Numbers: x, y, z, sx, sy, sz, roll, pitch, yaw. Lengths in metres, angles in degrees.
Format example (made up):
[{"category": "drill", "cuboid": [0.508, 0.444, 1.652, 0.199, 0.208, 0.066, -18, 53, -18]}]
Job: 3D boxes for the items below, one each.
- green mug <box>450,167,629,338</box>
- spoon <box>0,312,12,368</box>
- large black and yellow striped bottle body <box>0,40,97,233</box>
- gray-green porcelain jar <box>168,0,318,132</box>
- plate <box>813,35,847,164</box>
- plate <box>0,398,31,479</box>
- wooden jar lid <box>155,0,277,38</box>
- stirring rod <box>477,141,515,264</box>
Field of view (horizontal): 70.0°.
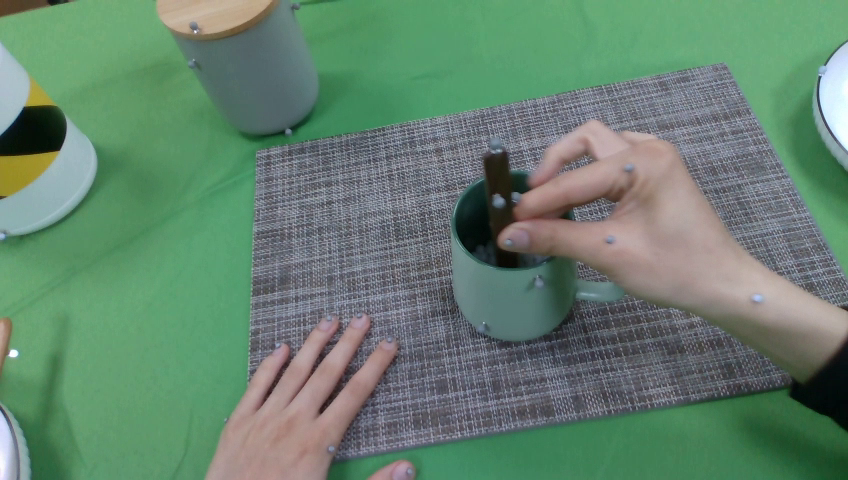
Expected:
[{"category": "green mug", "cuboid": [0.078, 0.014, 0.423, 0.125, 0.106, 0.092, 10, 60, 13]}, {"category": "spoon", "cuboid": [-0.316, 0.141, 0.430, 0.041, 0.022, 0.192, -8, 66, 2]}, {"category": "large black and yellow striped bottle body", "cuboid": [-0.395, -0.105, 0.522, 0.130, 0.186, 0.129, -4, 59, 7]}, {"category": "gray-green porcelain jar", "cuboid": [-0.161, -0.173, 0.563, 0.106, 0.128, 0.105, -4, 58, 6]}, {"category": "plate", "cuboid": [0.422, -0.099, 0.483, 0.207, 0.039, 0.205, -4, 59, 7]}, {"category": "plate", "cuboid": [-0.371, 0.199, 0.421, 0.209, 0.038, 0.207, -4, 58, 6]}, {"category": "wooden jar lid", "cuboid": [-0.170, -0.206, 0.511, 0.108, 0.021, 0.107, -3, 61, 6]}, {"category": "stirring rod", "cuboid": [0.048, 0.005, 0.372, 0.014, 0.178, 0.005, -21, 52, -4]}]
